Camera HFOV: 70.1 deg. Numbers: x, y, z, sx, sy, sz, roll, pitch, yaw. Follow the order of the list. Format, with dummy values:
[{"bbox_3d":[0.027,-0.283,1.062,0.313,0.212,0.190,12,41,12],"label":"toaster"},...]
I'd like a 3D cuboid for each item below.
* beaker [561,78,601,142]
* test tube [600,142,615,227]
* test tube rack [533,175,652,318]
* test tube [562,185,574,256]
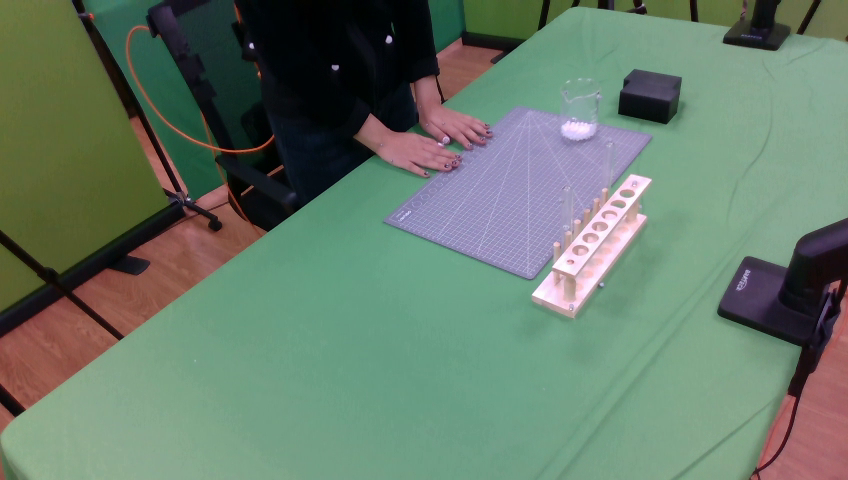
[{"bbox_3d":[0.295,-0.243,1.150,0.073,0.101,0.084,22,50,32],"label":"beaker"},{"bbox_3d":[0.274,-0.081,0.909,0.017,0.151,0.017,-5,40,5],"label":"test tube"},{"bbox_3d":[0.250,-0.001,0.889,0.066,0.085,0.243,22,49,33],"label":"test tube rack"},{"bbox_3d":[0.201,-0.015,0.845,0.017,0.151,0.017,-6,42,6],"label":"test tube"}]
